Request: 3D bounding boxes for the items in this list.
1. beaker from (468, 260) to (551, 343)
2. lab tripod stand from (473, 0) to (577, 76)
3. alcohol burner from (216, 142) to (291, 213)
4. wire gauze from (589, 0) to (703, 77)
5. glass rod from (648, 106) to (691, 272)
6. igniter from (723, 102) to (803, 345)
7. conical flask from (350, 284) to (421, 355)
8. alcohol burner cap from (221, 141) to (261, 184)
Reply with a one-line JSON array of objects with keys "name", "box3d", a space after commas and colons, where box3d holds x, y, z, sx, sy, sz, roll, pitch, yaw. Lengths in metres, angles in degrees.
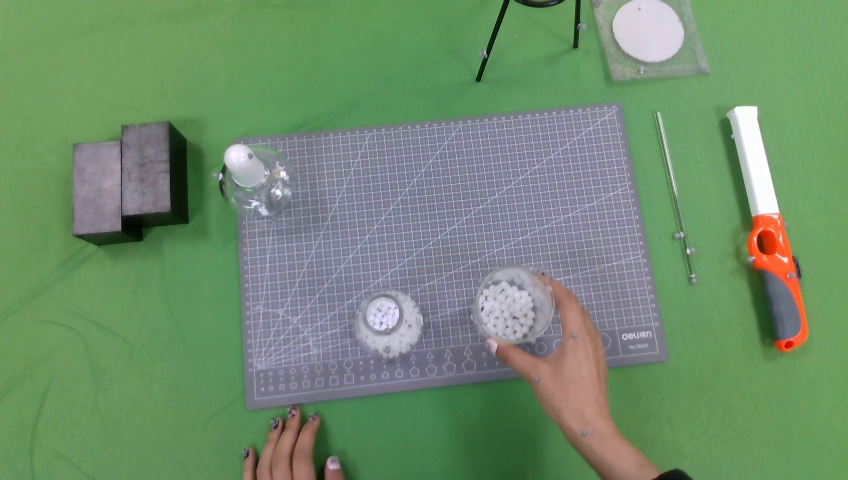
[{"name": "beaker", "box3d": [0.084, 0.063, 0.610, 0.074, 0.100, 0.084, 41, 81, 7]}, {"name": "lab tripod stand", "box3d": [0.107, -0.260, 0.661, 0.148, 0.132, 0.148, 0, 81, -2]}, {"name": "alcohol burner", "box3d": [-0.180, -0.069, 0.623, 0.078, 0.119, 0.077, 0, 79, 1]}, {"name": "wire gauze", "box3d": [0.266, -0.255, 0.728, 0.125, 0.011, 0.121, -7, 80, -5]}, {"name": "glass rod", "box3d": [0.279, -0.061, 0.690, 0.008, 0.008, 0.199, -8, 79, -3]}, {"name": "igniter", "box3d": [0.377, -0.023, 0.676, 0.057, 0.025, 0.275, -3, 79, -13]}, {"name": "conical flask", "box3d": [-0.041, 0.074, 0.595, 0.075, 0.122, 0.075, 0, 78, -1]}, {"name": "alcohol burner cap", "box3d": [-0.180, -0.078, 0.588, 0.034, 0.048, 0.033, 1, 70, -2]}]
